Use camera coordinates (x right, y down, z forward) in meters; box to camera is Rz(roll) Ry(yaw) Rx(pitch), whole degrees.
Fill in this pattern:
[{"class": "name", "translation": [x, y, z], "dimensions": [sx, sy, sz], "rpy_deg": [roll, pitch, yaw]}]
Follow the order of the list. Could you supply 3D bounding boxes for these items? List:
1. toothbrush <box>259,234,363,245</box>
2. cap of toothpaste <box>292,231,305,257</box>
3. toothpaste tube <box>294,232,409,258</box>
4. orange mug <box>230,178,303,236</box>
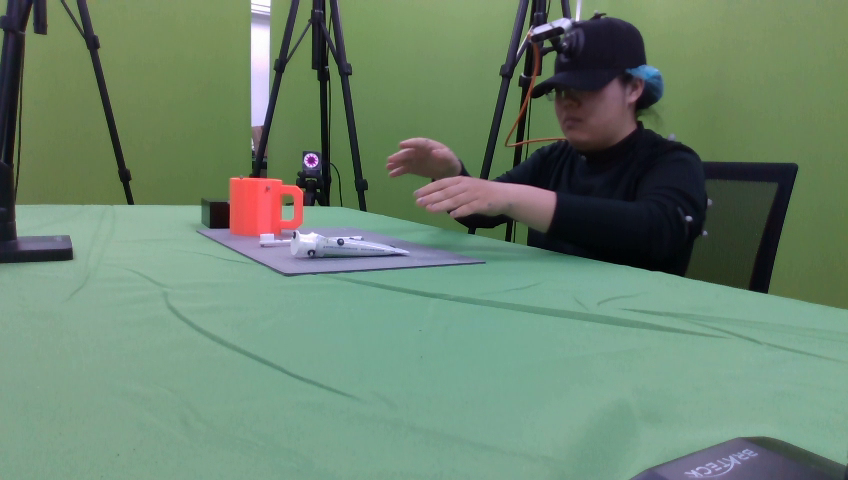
[{"class": "toothbrush", "translation": [-0.175, -0.002, 0.958], "dimensions": [0.183, 0.016, 0.014], "rpy_deg": [-1, -5, -39]}, {"class": "cap of toothpaste", "translation": [-0.169, 0.005, 0.812], "dimensions": [0.011, 0.037, 0.037], "rpy_deg": [6, 4, -29]}, {"class": "toothpaste tube", "translation": [-0.103, 0.010, 0.853], "dimensions": [0.166, 0.034, 0.055], "rpy_deg": [3, 11, -34]}, {"class": "orange mug", "translation": [-0.275, -0.060, 1.058], "dimensions": [0.126, 0.101, 0.083], "rpy_deg": [-2, 8, -5]}]
